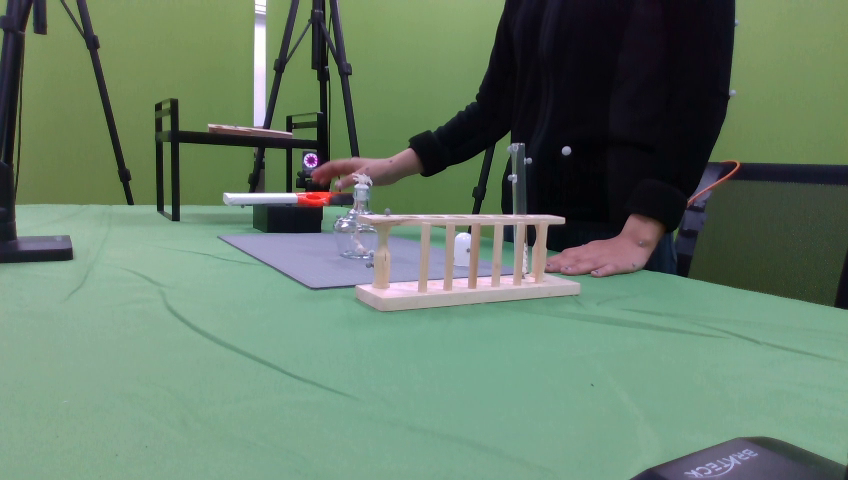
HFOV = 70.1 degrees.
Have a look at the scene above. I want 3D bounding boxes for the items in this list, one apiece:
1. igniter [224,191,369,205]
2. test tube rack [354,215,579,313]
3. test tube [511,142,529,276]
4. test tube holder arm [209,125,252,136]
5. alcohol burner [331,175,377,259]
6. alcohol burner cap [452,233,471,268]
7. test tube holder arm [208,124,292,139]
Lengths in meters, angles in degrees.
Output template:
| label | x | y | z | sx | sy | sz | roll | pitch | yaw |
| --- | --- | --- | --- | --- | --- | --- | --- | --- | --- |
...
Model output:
| label | x | y | z | sx | sy | sz | roll | pitch | yaw |
| --- | --- | --- | --- | --- | --- | --- | --- | --- | --- |
| igniter | -0.237 | -0.079 | 1.157 | 0.278 | 0.025 | 0.057 | -2 | 21 | -31 |
| test tube rack | 0.053 | 0.019 | 0.635 | 0.243 | 0.085 | 0.066 | -1 | 8 | -29 |
| test tube | 0.108 | -0.034 | 0.678 | 0.017 | 0.150 | 0.017 | -3 | 7 | 1 |
| test tube holder arm | -0.419 | -0.236 | 1.308 | 0.088 | 0.015 | 0.010 | 1 | 40 | -28 |
| alcohol burner | -0.091 | -0.033 | 0.855 | 0.078 | 0.119 | 0.078 | 4 | 7 | 0 |
| alcohol burner cap | 0.053 | 0.014 | 0.823 | 0.034 | 0.048 | 0.034 | 3 | 6 | 0 |
| test tube holder arm | -0.381 | -0.239 | 1.334 | 0.179 | 0.015 | 0.013 | 1 | 41 | -29 |
